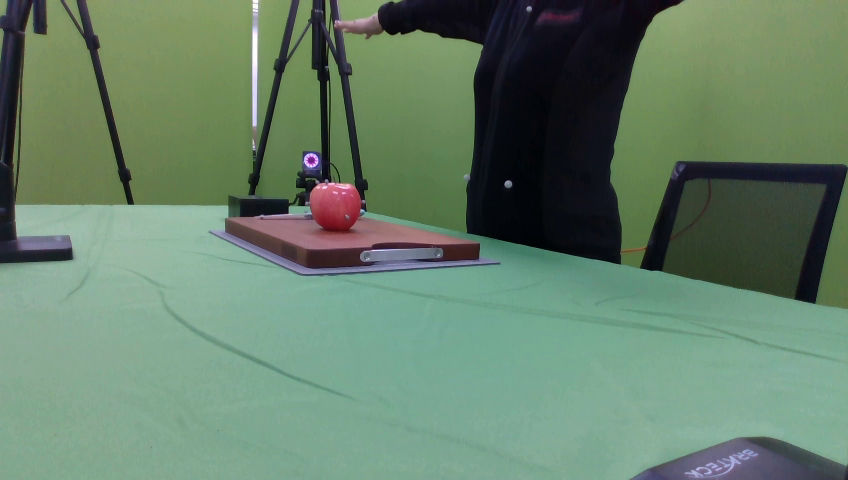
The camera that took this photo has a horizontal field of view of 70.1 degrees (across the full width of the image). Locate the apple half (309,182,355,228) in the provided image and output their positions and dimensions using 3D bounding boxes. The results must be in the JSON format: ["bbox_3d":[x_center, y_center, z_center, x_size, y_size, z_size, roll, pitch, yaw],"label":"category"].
[{"bbox_3d":[-0.152,-0.058,0.978,0.082,0.081,0.032,-2,11,-27],"label":"apple half"}]

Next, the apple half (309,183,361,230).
[{"bbox_3d":[-0.135,-0.052,0.945,0.081,0.074,0.053,3,10,-29],"label":"apple half"}]

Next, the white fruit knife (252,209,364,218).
[{"bbox_3d":[-0.209,-0.047,1.106,0.208,0.016,0.027,-3,-4,-30],"label":"white fruit knife"}]
